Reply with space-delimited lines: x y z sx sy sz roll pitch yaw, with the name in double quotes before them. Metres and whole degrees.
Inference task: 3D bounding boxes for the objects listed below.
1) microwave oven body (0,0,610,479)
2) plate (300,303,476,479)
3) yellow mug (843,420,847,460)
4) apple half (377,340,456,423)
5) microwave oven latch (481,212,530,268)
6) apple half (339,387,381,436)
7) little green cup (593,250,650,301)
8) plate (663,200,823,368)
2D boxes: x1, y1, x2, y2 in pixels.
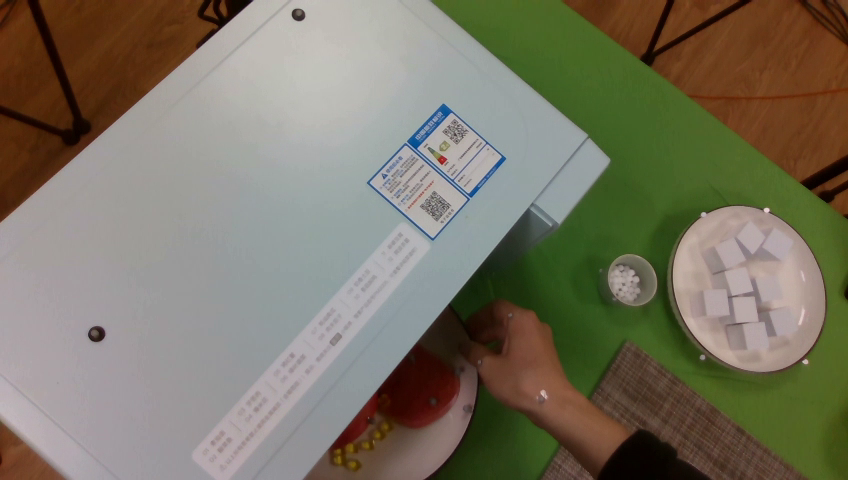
"microwave oven body" -0.124 0.004 0.556 0.326 0.260 0.441 41 75 1
"plate" -0.056 0.127 0.568 0.209 0.038 0.208 1 81 -8
"yellow mug" 0.570 0.264 0.722 0.100 0.064 0.130 10 77 -7
"apple half" -0.011 0.135 0.569 0.081 0.033 0.081 0 79 -2
"microwave oven latch" 0.087 -0.006 0.694 0.030 0.029 0.079 43 75 1
"apple half" -0.084 0.139 0.547 0.074 0.053 0.081 -41 92 0
"little green cup" 0.234 0.045 0.727 0.062 0.038 0.061 1 80 -8
"plate" 0.390 0.054 0.752 0.208 0.039 0.206 2 77 -9
